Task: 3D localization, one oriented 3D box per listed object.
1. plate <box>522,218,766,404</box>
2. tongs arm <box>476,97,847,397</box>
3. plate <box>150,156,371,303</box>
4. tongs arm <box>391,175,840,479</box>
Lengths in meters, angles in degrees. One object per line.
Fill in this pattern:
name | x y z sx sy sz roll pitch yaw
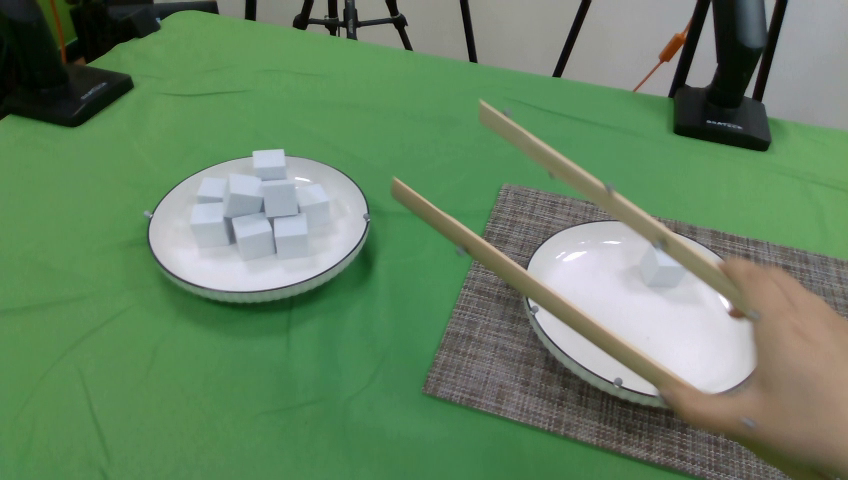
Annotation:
plate | 0.189 0.060 0.542 0.208 0.039 0.205 2 43 -1
tongs arm | 0.168 0.028 0.395 0.382 0.027 0.050 39 68 17
plate | -0.157 -0.011 0.602 0.209 0.038 0.207 2 42 -2
tongs arm | 0.132 0.064 0.377 0.385 0.028 0.028 34 63 15
